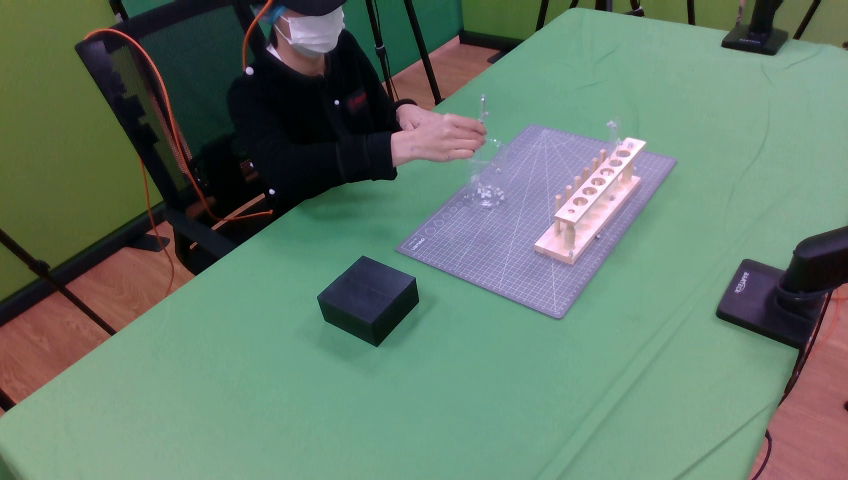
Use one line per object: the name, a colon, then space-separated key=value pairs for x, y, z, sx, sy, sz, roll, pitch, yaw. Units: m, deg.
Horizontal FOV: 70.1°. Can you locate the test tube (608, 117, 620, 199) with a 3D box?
test tube: x=0.298 y=-0.125 z=0.946 sx=0.017 sy=0.151 sz=0.017 roll=-8 pitch=42 yaw=8

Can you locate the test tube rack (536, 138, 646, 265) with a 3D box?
test tube rack: x=0.268 y=-0.071 z=0.964 sx=0.066 sy=0.085 sz=0.243 roll=23 pitch=49 yaw=32

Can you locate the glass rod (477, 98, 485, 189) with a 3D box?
glass rod: x=0.094 y=-0.154 z=0.998 sx=0.008 sy=0.200 sz=0.008 roll=-1 pitch=52 yaw=2

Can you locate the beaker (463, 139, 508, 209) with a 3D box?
beaker: x=0.108 y=-0.111 z=1.027 sx=0.073 sy=0.100 sz=0.084 roll=26 pitch=49 yaw=33
